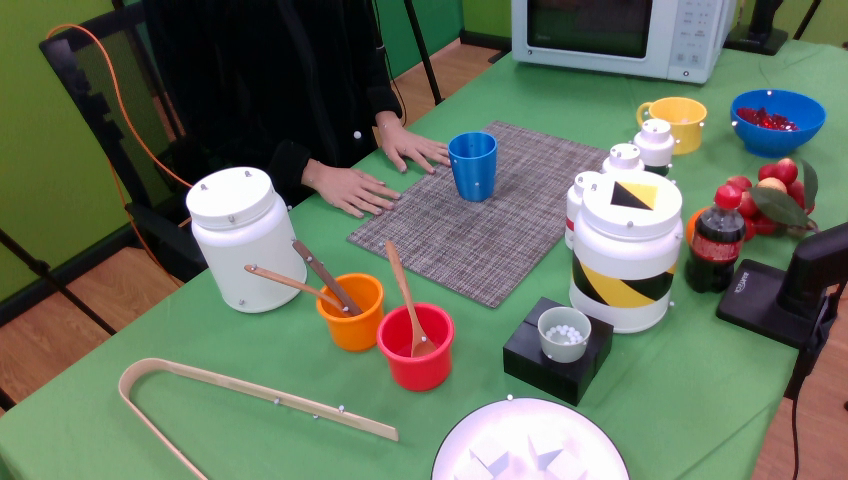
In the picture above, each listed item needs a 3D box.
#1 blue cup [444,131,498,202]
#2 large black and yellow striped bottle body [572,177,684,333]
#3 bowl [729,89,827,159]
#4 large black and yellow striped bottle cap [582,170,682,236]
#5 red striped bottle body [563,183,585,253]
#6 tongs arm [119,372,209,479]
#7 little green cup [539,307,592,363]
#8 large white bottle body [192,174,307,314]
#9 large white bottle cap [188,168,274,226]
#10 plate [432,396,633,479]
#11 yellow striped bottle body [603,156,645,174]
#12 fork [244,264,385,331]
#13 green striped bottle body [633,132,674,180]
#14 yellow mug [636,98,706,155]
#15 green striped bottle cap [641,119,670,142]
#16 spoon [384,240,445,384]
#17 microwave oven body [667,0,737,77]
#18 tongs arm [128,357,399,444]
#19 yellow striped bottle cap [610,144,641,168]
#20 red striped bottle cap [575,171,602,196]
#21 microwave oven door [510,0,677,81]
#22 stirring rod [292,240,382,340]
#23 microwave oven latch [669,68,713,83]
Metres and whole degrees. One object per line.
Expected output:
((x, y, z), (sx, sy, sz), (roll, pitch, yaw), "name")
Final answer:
((0.087, -0.122, 1.040), (0.092, 0.100, 0.092), (-5, 42, 5), "blue cup")
((0.262, 0.017, 0.788), (0.131, 0.185, 0.130), (-5, 40, 4), "large black and yellow striped bottle body")
((0.615, -0.197, 1.069), (0.151, 0.077, 0.150), (-5, 40, 5), "bowl")
((0.252, -0.048, 0.735), (0.115, 0.019, 0.114), (-3, 40, 3), "large black and yellow striped bottle cap")
((0.246, -0.041, 0.910), (0.063, 0.120, 0.062), (-2, 38, 2), "red striped bottle body")
((-0.258, 0.257, 0.700), (0.384, 0.028, 0.028), (24, 55, 34), "tongs arm")
((0.168, 0.115, 0.721), (0.061, 0.039, 0.061), (-4, 42, 4), "little green cup")
((-0.256, 0.003, 0.885), (0.130, 0.185, 0.130), (-5, 40, 4), "large white bottle body")
((-0.265, -0.061, 0.831), (0.115, 0.018, 0.114), (-4, 40, 4), "large white bottle cap")
((0.112, 0.261, 0.634), (0.209, 0.038, 0.208), (-5, 40, 4), "plate")
((0.313, -0.089, 0.956), (0.063, 0.121, 0.062), (-4, 39, 4), "yellow striped bottle body")
((-0.142, 0.078, 0.806), (0.209, 0.018, 0.028), (30, 33, -24), "fork")
((0.376, -0.135, 1.001), (0.063, 0.120, 0.063), (-5, 40, 5), "green striped bottle body")
((0.453, -0.217, 1.128), (0.100, 0.064, 0.129), (-34, 46, -27), "yellow mug")
((0.371, -0.175, 0.968), (0.044, 0.020, 0.044), (-5, 41, 5), "green striped bottle cap")
((-0.016, 0.090, 0.776), (0.042, 0.021, 0.193), (-17, 85, -10), "spoon")
((0.462, -0.552, 1.369), (0.439, 0.261, 0.326), (15, 45, 26), "microwave oven body")
((-0.213, 0.205, 0.755), (0.382, 0.026, 0.051), (12, 46, 23), "tongs arm")
((0.307, -0.128, 0.923), (0.044, 0.019, 0.044), (-5, 40, 5), "yellow striped bottle cap")
((0.242, -0.081, 0.876), (0.044, 0.018, 0.044), (-5, 44, 5), "red striped bottle cap")
((0.354, -0.478, 1.290), (0.353, 0.245, 0.039), (15, 45, 25), "microwave oven door")
((-0.119, 0.068, 0.826), (0.176, 0.006, 0.014), (49, 58, -4), "stirring rod")
((0.556, -0.348, 1.262), (0.078, 0.029, 0.030), (15, 46, 26), "microwave oven latch")
